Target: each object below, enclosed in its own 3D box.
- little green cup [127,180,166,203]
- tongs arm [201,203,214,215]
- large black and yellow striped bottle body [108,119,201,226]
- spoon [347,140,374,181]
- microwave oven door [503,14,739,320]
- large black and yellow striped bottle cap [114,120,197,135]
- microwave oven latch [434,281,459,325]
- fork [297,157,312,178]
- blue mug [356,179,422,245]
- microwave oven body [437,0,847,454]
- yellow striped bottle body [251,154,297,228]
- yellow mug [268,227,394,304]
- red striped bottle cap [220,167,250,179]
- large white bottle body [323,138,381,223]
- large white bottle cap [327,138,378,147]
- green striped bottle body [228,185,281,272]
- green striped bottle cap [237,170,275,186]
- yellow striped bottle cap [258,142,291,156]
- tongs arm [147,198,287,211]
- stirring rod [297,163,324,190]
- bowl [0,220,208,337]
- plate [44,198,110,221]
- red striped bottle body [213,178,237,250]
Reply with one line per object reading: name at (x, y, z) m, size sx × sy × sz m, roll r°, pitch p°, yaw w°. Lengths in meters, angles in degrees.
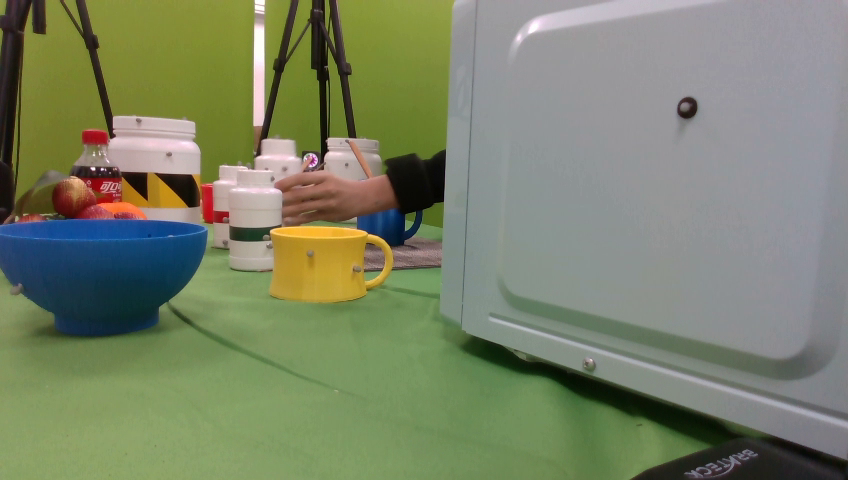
little green cup at (-0.486, -0.086, 1.061) m, size 0.061 × 0.038 × 0.061 m, roll 1°, pitch 7°, yaw 0°
tongs arm at (-0.423, -0.084, 1.472) m, size 0.050 × 0.026 × 0.386 m, roll 2°, pitch 6°, yaw 21°
large black and yellow striped bottle body at (-0.412, -0.088, 0.930) m, size 0.131 × 0.184 × 0.130 m, roll 3°, pitch 7°, yaw 0°
spoon at (-0.089, -0.094, 1.028) m, size 0.042 × 0.193 × 0.021 m, roll -5°, pitch -25°, yaw -44°
microwave oven door at (0.218, -0.065, 0.600) m, size 0.358 × 0.243 × 0.039 m, roll -4°, pitch 10°, yaw -41°
large black and yellow striped bottle cap at (-0.407, -0.171, 0.920) m, size 0.115 × 0.019 × 0.115 m, roll 2°, pitch 9°, yaw 0°
microwave oven latch at (0.044, 0.045, 0.470) m, size 0.079 × 0.029 × 0.030 m, roll -2°, pitch 8°, yaw -39°
fork at (-0.289, -0.116, 1.321) m, size 0.028 × 0.019 × 0.207 m, roll 6°, pitch 51°, yaw 19°
blue mug at (-0.057, -0.046, 1.006) m, size 0.116 × 0.106 × 0.082 m, roll 5°, pitch 8°, yaw 21°
microwave oven body at (0.279, -0.040, 0.464) m, size 0.444 × 0.260 × 0.324 m, roll -3°, pitch 9°, yaw -41°
yellow striped bottle body at (-0.208, -0.074, 0.840) m, size 0.063 × 0.120 × 0.063 m, roll 1°, pitch 7°, yaw 0°
yellow mug at (-0.094, 0.023, 0.630) m, size 0.131 × 0.064 × 0.099 m, roll 0°, pitch 8°, yaw -22°
red striped bottle cap at (-0.281, -0.100, 0.901) m, size 0.044 × 0.017 × 0.044 m, roll -1°, pitch 5°, yaw 0°
large white bottle body at (-0.163, -0.135, 1.368) m, size 0.131 × 0.184 × 0.130 m, roll 2°, pitch 7°, yaw 0°
large white bottle cap at (-0.160, -0.218, 1.357) m, size 0.115 × 0.018 × 0.115 m, roll 2°, pitch 8°, yaw 0°
green striped bottle body at (-0.208, -0.023, 0.745) m, size 0.063 × 0.119 × 0.063 m, roll 2°, pitch 7°, yaw 0°
green striped bottle cap at (-0.205, -0.075, 0.737) m, size 0.044 × 0.020 × 0.044 m, roll 1°, pitch 6°, yaw 0°
yellow striped bottle cap at (-0.206, -0.125, 0.834) m, size 0.044 × 0.018 × 0.044 m, roll 0°, pitch 7°, yaw 0°
tongs arm at (-0.504, -0.091, 1.513) m, size 0.028 × 0.028 × 0.389 m, roll -1°, pitch 4°, yaw 37°
stirring rod at (-0.278, -0.105, 1.293) m, size 0.176 × 0.006 × 0.014 m, roll -47°, pitch 24°, yaw -18°
bowl at (-0.251, 0.029, 0.479) m, size 0.151 × 0.077 × 0.151 m, roll 2°, pitch 7°, yaw 0°
plate at (-0.617, -0.056, 1.179) m, size 0.209 × 0.038 × 0.209 m, roll 3°, pitch 7°, yaw 0°
red striped bottle body at (-0.284, -0.048, 0.908) m, size 0.063 × 0.119 × 0.063 m, roll 2°, pitch 7°, yaw 0°
